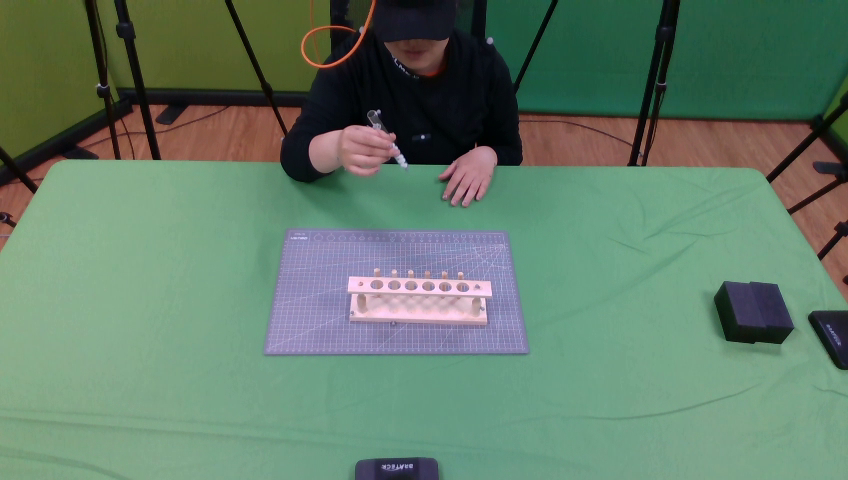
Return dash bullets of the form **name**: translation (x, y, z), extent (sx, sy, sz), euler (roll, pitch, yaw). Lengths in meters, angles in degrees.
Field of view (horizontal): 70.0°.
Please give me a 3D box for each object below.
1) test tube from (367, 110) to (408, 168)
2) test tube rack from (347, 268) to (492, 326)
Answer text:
- **test tube**: translation (-0.060, -0.170, 1.041), extent (0.017, 0.151, 0.017), euler (-11, 57, 18)
- **test tube rack**: translation (-0.009, 0.095, 1.059), extent (0.242, 0.085, 0.066), euler (2, 46, -2)
